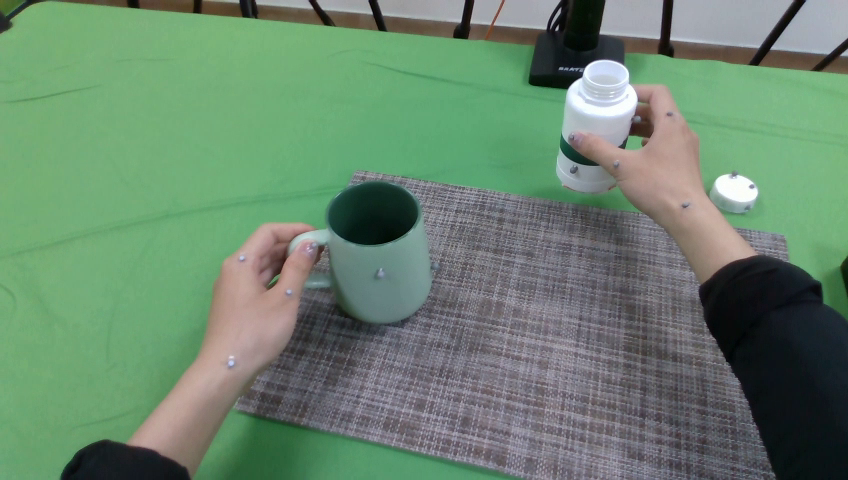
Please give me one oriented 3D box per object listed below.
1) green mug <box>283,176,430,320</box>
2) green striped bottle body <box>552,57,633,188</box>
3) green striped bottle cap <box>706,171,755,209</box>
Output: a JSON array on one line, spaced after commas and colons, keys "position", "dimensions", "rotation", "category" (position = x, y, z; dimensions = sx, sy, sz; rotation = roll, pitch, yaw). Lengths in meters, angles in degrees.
[{"position": [-0.058, 0.012, 0.525], "dimensions": [0.125, 0.106, 0.091], "rotation": [-11, 49, -7], "category": "green mug"}, {"position": [0.158, -0.111, 0.571], "dimensions": [0.063, 0.120, 0.062], "rotation": [-2, 52, 3], "category": "green striped bottle body"}, {"position": [0.322, -0.053, 0.636], "dimensions": [0.044, 0.020, 0.044], "rotation": [0, 44, 1], "category": "green striped bottle cap"}]
